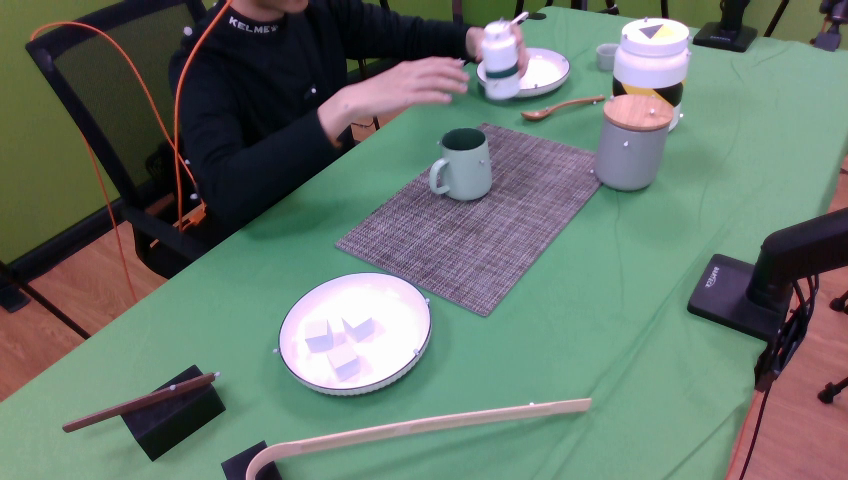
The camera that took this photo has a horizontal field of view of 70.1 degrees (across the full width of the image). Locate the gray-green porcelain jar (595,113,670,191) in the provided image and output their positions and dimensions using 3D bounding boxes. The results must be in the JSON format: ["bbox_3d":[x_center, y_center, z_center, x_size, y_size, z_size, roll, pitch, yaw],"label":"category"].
[{"bbox_3d":[0.346,-0.155,1.017,0.106,0.127,0.105,-2,44,2],"label":"gray-green porcelain jar"}]

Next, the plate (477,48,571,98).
[{"bbox_3d":[0.223,-0.371,1.357,0.209,0.038,0.208,-4,41,4],"label":"plate"}]

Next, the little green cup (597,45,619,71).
[{"bbox_3d":[0.423,-0.413,1.376,0.061,0.039,0.061,-4,41,4],"label":"little green cup"}]

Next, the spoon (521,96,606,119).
[{"bbox_3d":[0.291,-0.277,1.248,0.194,0.022,0.041,-18,23,-11],"label":"spoon"}]

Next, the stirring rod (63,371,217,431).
[{"bbox_3d":[-0.337,0.192,0.723,0.177,0.014,0.005,-18,42,-12],"label":"stirring rod"}]

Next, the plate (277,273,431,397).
[{"bbox_3d":[-0.092,0.129,0.821,0.207,0.039,0.206,-4,40,4],"label":"plate"}]

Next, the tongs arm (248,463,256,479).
[{"bbox_3d":[0.012,0.262,0.615,0.385,0.026,0.050,2,42,-2],"label":"tongs arm"}]

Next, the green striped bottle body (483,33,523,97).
[{"bbox_3d":[0.140,-0.322,1.075,0.063,0.120,0.063,-9,36,7],"label":"green striped bottle body"}]

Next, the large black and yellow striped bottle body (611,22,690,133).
[{"bbox_3d":[0.420,-0.300,1.132,0.131,0.185,0.130,-4,41,4],"label":"large black and yellow striped bottle body"}]

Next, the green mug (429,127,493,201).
[{"bbox_3d":[0.059,-0.122,1.034,0.126,0.105,0.091,-34,48,-28],"label":"green mug"}]

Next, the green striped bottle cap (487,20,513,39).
[{"bbox_3d":[0.130,-0.362,1.043,0.044,0.020,0.044,-9,37,7],"label":"green striped bottle cap"}]

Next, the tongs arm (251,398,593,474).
[{"bbox_3d":[0.008,0.212,0.675,0.389,0.028,0.028,-5,46,-11],"label":"tongs arm"}]

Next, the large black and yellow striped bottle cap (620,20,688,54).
[{"bbox_3d":[0.411,-0.363,1.080,0.115,0.019,0.114,-4,42,4],"label":"large black and yellow striped bottle cap"}]

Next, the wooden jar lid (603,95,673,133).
[{"bbox_3d":[0.343,-0.200,0.974,0.108,0.021,0.108,-2,39,2],"label":"wooden jar lid"}]
